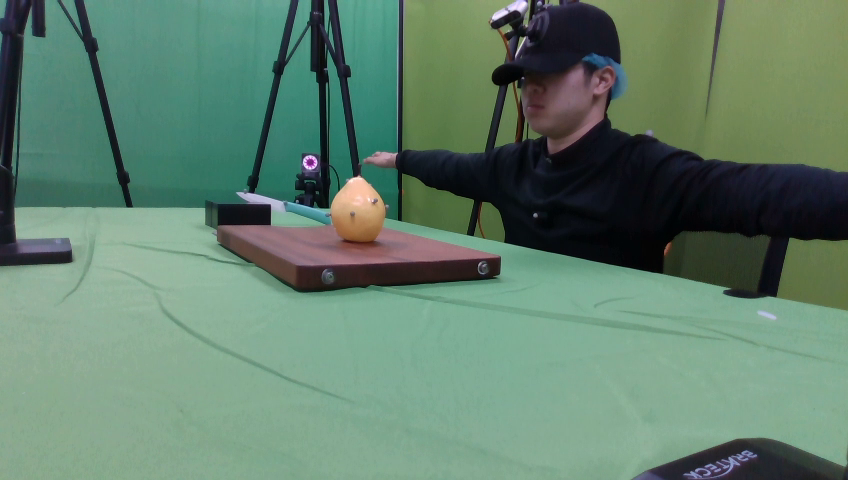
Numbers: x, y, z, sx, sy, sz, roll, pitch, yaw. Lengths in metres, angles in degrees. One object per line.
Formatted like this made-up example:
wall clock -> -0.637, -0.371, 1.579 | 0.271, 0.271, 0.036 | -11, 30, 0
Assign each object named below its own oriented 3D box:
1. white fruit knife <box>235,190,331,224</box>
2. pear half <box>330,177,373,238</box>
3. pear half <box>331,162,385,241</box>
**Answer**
white fruit knife -> -0.286, -0.070, 1.245 | 0.208, 0.027, 0.016 | 15, -4, -30
pear half -> -0.109, -0.047, 0.866 | 0.031, 0.088, 0.071 | 8, 12, 43
pear half -> -0.085, -0.052, 0.839 | 0.055, 0.110, 0.077 | 10, 14, 42
